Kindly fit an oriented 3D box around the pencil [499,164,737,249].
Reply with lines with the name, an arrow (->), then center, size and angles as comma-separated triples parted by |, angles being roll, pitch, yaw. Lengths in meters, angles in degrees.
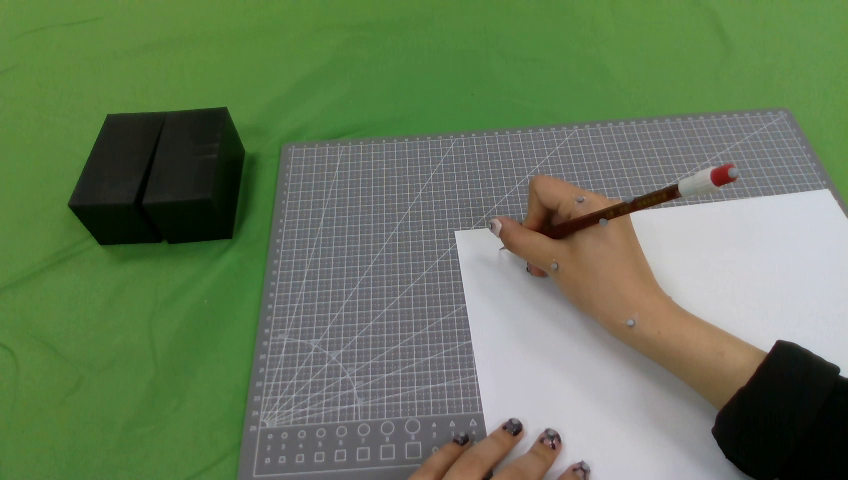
pencil -> 0.104, -0.013, 0.376 | 0.012, 0.193, 0.012 | 7, 75, -28
